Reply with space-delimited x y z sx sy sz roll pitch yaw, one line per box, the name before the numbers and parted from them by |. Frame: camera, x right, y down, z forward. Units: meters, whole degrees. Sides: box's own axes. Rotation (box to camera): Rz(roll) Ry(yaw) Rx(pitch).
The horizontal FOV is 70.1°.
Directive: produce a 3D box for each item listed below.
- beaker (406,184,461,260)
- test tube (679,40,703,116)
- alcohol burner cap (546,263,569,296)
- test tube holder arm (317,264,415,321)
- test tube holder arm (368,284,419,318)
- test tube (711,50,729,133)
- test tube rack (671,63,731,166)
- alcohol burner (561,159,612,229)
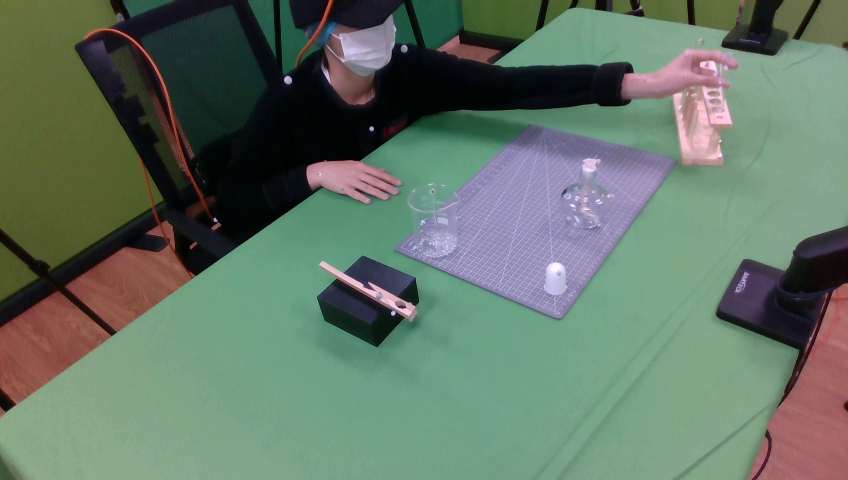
beaker | 0.019 -0.026 0.939 0.084 0.101 0.074 1 41 10
test tube | 0.502 -0.303 1.138 0.017 0.151 0.017 -4 40 3
alcohol burner cap | 0.191 0.053 0.862 0.034 0.048 0.033 -5 40 4
test tube holder arm | -0.083 0.071 0.833 0.177 0.015 0.013 22 54 30
test tube holder arm | -0.044 0.081 0.813 0.087 0.015 0.010 23 55 31
test tube | 0.503 -0.248 1.030 0.017 0.151 0.017 -9 36 7
test tube rack | 0.513 -0.240 1.132 0.066 0.085 0.242 4 41 14
alcohol burner | 0.257 -0.077 0.951 0.078 0.119 0.077 -3 40 3
